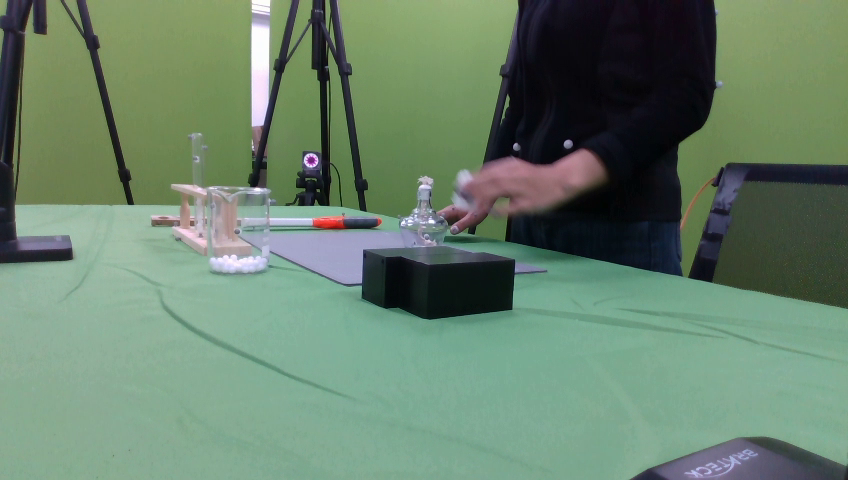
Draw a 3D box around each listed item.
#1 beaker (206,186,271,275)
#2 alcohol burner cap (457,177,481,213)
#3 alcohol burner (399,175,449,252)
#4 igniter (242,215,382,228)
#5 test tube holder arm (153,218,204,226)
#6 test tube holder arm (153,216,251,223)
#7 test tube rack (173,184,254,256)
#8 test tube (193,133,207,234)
[{"bbox_3d":[-0.220,-0.012,0.717,0.074,0.100,0.084,2,8,-3],"label":"beaker"},{"bbox_3d":[0.064,-0.064,0.848,0.034,0.048,0.034,7,17,-2],"label":"alcohol burner cap"},{"bbox_3d":[0.000,-0.041,0.937,0.078,0.119,0.078,0,7,0],"label":"alcohol burner"},{"bbox_3d":[-0.213,-0.036,1.187,0.278,0.025,0.057,-2,-1,-31],"label":"igniter"},{"bbox_3d":[-0.459,-0.034,1.132,0.088,0.015,0.010,-1,43,-30],"label":"test tube holder arm"},{"bbox_3d":[-0.422,-0.039,1.159,0.179,0.015,0.013,-2,43,-31],"label":"test tube holder arm"},{"bbox_3d":[-0.328,-0.036,0.927,0.067,0.085,0.241,-2,9,-32],"label":"test tube rack"},{"bbox_3d":[-0.335,-0.084,0.904,0.017,0.150,0.017,-1,2,0],"label":"test tube"}]
